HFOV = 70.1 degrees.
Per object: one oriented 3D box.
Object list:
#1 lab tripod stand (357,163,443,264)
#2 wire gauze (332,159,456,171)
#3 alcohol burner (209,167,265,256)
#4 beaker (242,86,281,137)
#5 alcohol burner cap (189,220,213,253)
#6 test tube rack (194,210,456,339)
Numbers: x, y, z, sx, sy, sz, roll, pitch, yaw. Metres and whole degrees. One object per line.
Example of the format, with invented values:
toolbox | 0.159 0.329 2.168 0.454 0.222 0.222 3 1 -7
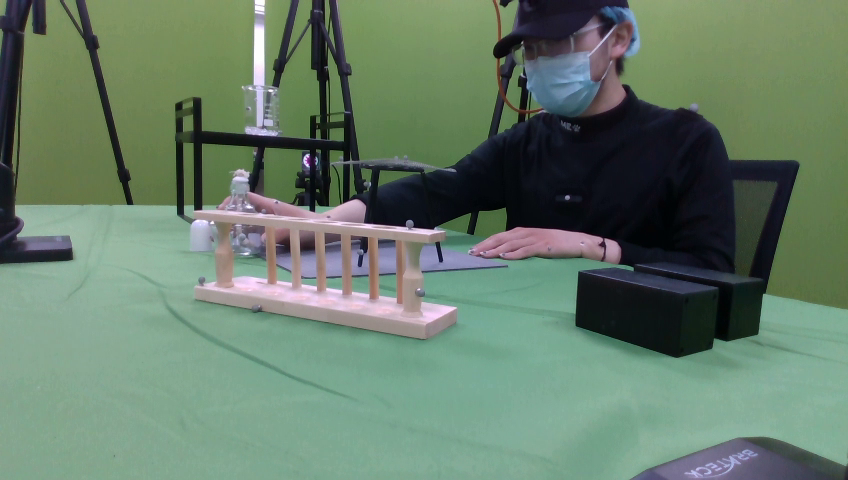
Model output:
lab tripod stand | -0.044 -0.038 0.830 0.148 0.131 0.148 3 6 0
wire gauze | -0.042 -0.104 0.819 0.126 0.011 0.121 -3 9 -44
alcohol burner | -0.251 -0.039 0.820 0.078 0.119 0.078 2 8 0
beaker | -0.338 -0.265 1.252 0.073 0.100 0.084 8 9 38
alcohol burner cap | -0.322 -0.006 0.874 0.034 0.048 0.034 4 7 0
test tube rack | -0.093 0.023 0.545 0.241 0.085 0.067 6 8 25
